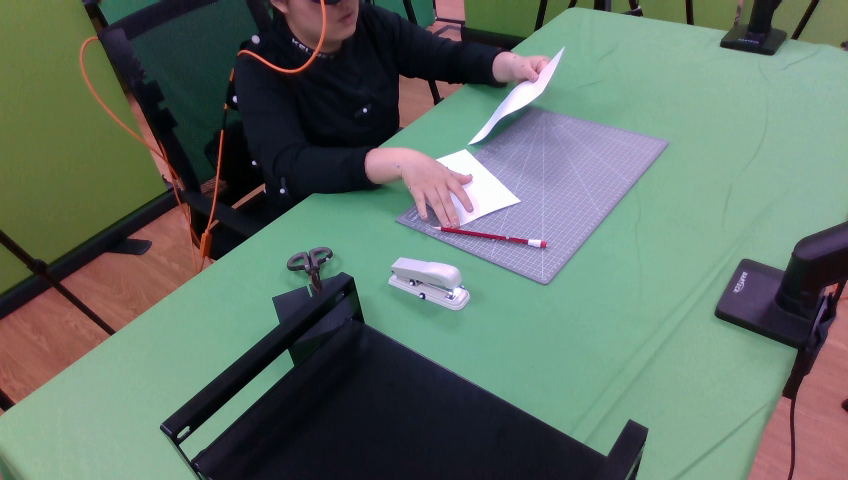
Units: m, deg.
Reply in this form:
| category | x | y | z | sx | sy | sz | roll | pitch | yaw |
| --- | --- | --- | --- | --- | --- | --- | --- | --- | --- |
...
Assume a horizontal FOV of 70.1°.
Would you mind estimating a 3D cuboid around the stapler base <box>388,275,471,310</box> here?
| category | x | y | z | sx | sy | sz | roll | pitch | yaw |
| --- | --- | --- | --- | --- | --- | --- | --- | --- | --- |
| stapler base | 0.007 | 0.066 | 0.897 | 0.129 | 0.024 | 0.041 | 17 | 43 | 29 |

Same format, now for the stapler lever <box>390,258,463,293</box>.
| category | x | y | z | sx | sy | sz | roll | pitch | yaw |
| --- | --- | --- | --- | --- | --- | --- | --- | --- | --- |
| stapler lever | 0.003 | 0.046 | 0.881 | 0.117 | 0.040 | 0.027 | 17 | 44 | 29 |

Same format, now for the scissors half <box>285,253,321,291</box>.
| category | x | y | z | sx | sy | sz | roll | pitch | yaw |
| --- | --- | --- | --- | --- | --- | --- | --- | --- | --- |
| scissors half | -0.178 | 0.049 | 0.909 | 0.040 | 0.013 | 0.174 | -18 | 20 | -19 |

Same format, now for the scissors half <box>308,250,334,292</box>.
| category | x | y | z | sx | sy | sz | roll | pitch | yaw |
| --- | --- | --- | --- | --- | --- | --- | --- | --- | --- |
| scissors half | -0.158 | 0.045 | 0.913 | 0.040 | 0.013 | 0.174 | -7 | 18 | -3 |

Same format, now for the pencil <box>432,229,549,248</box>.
| category | x | y | z | sx | sy | sz | roll | pitch | yaw |
| --- | --- | --- | --- | --- | --- | --- | --- | --- | --- |
| pencil | 0.103 | -0.005 | 0.970 | 0.193 | 0.012 | 0.012 | 7 | 42 | 18 |
